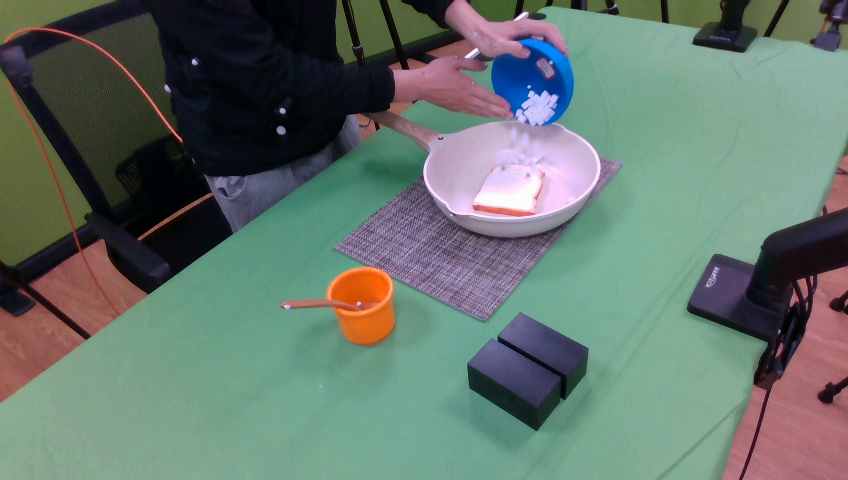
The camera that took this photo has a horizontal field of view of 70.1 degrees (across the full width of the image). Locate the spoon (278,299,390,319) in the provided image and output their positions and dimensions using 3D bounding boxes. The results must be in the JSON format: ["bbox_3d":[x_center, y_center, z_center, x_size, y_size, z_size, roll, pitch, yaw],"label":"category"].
[{"bbox_3d":[-0.113,0.087,0.787,0.041,0.021,0.195,28,7,36],"label":"spoon"}]

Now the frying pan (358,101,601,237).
[{"bbox_3d":[0.067,-0.153,1.067,0.484,0.103,0.308,32,52,26],"label":"frying pan"}]

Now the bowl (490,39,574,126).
[{"bbox_3d":[0.196,-0.278,1.022,0.150,0.152,0.077,24,55,31],"label":"bowl"}]

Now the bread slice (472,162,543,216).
[{"bbox_3d":[0.149,-0.089,1.042,0.106,0.018,0.134,7,45,16],"label":"bread slice"}]
